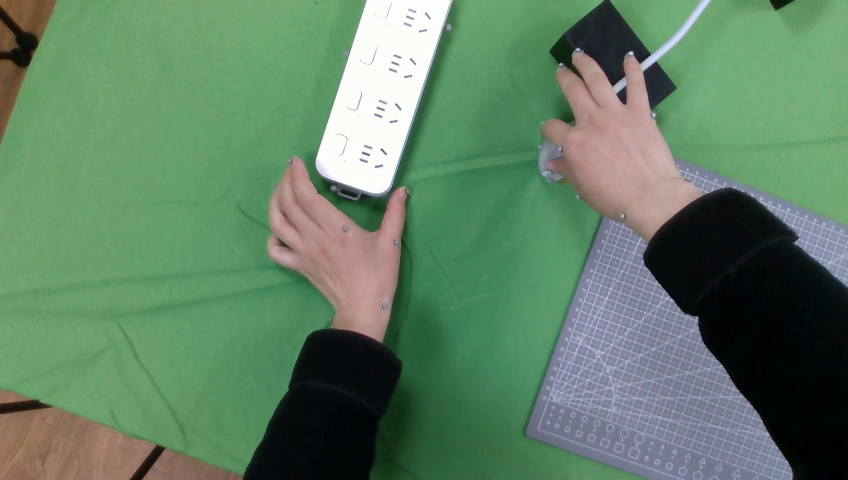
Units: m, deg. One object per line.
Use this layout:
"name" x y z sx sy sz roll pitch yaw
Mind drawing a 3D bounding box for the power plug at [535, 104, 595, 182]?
"power plug" 0.134 -0.081 0.551 0.072 0.035 0.053 -27 135 31

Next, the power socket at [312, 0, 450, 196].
"power socket" -0.037 -0.150 0.547 0.072 0.032 0.226 19 90 -6
